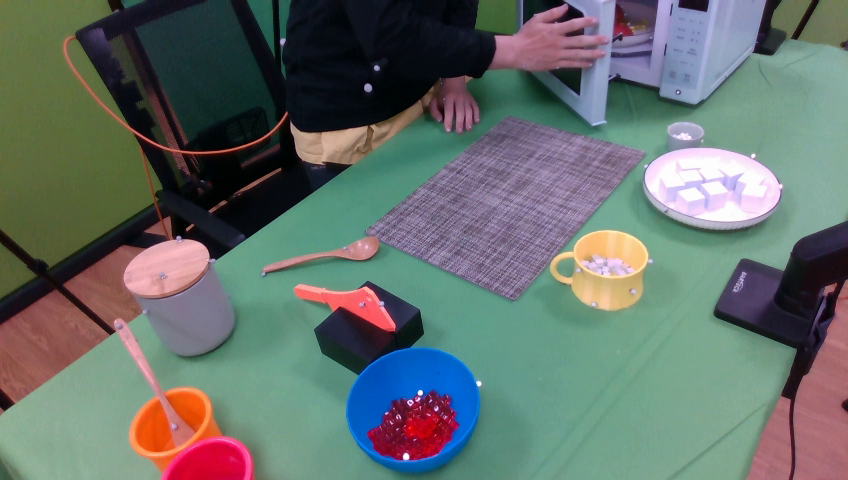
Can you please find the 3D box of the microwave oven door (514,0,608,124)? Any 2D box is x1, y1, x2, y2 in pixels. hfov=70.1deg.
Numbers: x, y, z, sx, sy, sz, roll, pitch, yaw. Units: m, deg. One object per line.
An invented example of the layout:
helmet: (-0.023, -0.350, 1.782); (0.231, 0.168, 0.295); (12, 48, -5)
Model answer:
microwave oven door: (0.273, -0.422, 1.225); (0.039, 0.245, 0.353); (-18, 42, -10)

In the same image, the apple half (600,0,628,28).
apple half: (0.419, -0.523, 1.379); (0.081, 0.054, 0.074); (-43, 39, -16)

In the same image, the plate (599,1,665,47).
plate: (0.431, -0.486, 1.367); (0.209, 0.038, 0.208); (-4, 41, 4)

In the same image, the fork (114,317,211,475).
fork: (-0.309, 0.180, 0.708); (0.028, 0.018, 0.207); (-29, 89, -26)

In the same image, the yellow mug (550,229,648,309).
yellow mug: (0.245, 0.039, 0.857); (0.130, 0.064, 0.099); (2, 42, 11)

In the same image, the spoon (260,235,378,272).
spoon: (-0.168, 0.024, 0.966); (0.194, 0.022, 0.041); (-10, 58, -3)

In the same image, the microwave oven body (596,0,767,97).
microwave oven body: (0.473, -0.516, 1.314); (0.438, 0.261, 0.327); (26, 51, 34)

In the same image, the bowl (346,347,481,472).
bowl: (-0.008, 0.205, 0.691); (0.151, 0.077, 0.150); (-4, 40, 4)

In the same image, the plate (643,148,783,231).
plate: (0.464, -0.080, 0.986); (0.207, 0.039, 0.206); (-4, 41, 4)

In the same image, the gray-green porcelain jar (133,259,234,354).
gray-green porcelain jar: (-0.328, 0.087, 0.836); (0.106, 0.127, 0.105); (-4, 41, 4)

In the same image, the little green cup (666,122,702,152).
little green cup: (0.471, -0.184, 1.102); (0.061, 0.039, 0.061); (-5, 41, 5)

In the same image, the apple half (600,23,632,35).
apple half: (0.417, -0.460, 1.329); (0.081, 0.033, 0.081); (-2, 38, 2)

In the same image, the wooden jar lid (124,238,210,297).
wooden jar lid: (-0.335, 0.039, 0.794); (0.108, 0.021, 0.108); (-2, 40, 2)

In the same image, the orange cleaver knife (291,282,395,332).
orange cleaver knife: (-0.116, 0.091, 0.835); (0.209, 0.077, 0.012); (2, 32, 48)

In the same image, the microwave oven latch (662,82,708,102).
microwave oven latch: (0.518, -0.298, 1.203); (0.078, 0.029, 0.030); (28, 53, 35)
